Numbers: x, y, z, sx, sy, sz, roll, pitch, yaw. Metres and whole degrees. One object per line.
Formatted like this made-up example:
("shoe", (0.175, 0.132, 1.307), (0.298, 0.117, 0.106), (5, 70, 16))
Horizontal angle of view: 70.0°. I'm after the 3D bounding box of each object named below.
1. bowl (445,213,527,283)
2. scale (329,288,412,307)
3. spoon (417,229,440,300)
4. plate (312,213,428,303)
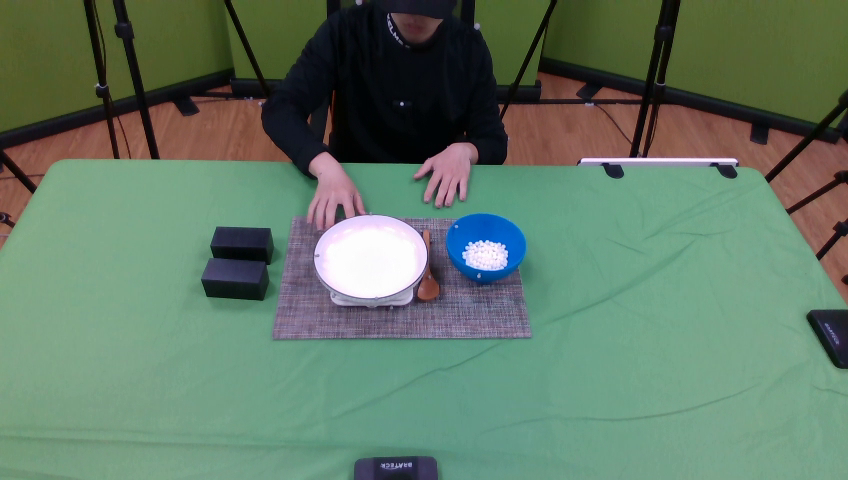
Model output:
("bowl", (0.112, 0.027, 1.136), (0.151, 0.077, 0.150), (2, 46, -2))
("scale", (-0.098, 0.042, 1.140), (0.149, 0.032, 0.199), (1, 46, -4))
("spoon", (0.006, 0.043, 1.152), (0.041, 0.022, 0.192), (-9, 45, 7))
("plate", (-0.097, 0.036, 1.100), (0.209, 0.038, 0.208), (2, 46, -2))
